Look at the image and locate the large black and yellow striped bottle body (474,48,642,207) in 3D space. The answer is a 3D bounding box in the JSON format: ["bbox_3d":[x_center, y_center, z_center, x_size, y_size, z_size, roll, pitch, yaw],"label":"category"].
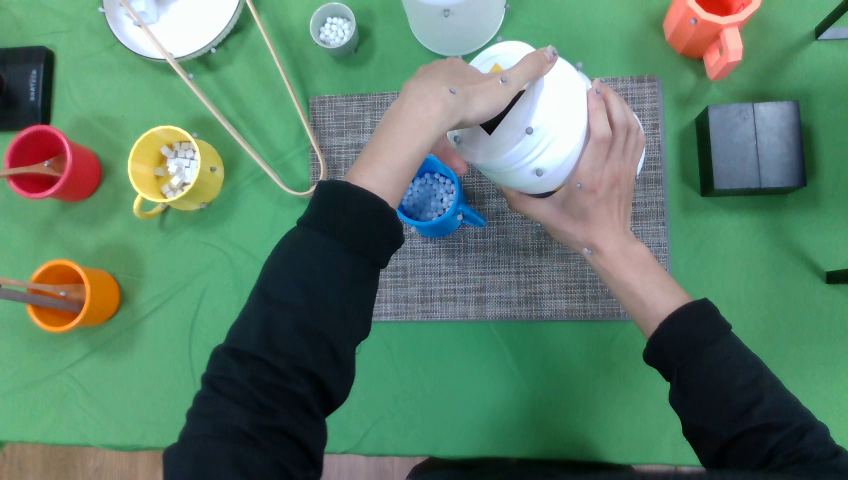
[{"bbox_3d":[0.123,-0.112,0.611,0.130,0.185,0.130,-9,76,41],"label":"large black and yellow striped bottle body"}]

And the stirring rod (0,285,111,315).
[{"bbox_3d":[-0.492,0.072,0.765,0.006,0.178,0.014,-17,62,49],"label":"stirring rod"}]

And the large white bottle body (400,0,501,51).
[{"bbox_3d":[0.025,-0.320,0.713,0.130,0.185,0.130,-1,84,8],"label":"large white bottle body"}]

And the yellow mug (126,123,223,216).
[{"bbox_3d":[-0.337,-0.085,0.799,0.099,0.064,0.131,37,92,9],"label":"yellow mug"}]

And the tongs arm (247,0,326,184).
[{"bbox_3d":[-0.211,-0.254,0.796,0.028,0.028,0.387,-25,88,-4],"label":"tongs arm"}]

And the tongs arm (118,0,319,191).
[{"bbox_3d":[-0.280,-0.206,0.797,0.051,0.026,0.384,-40,88,-1],"label":"tongs arm"}]

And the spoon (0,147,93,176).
[{"bbox_3d":[-0.535,-0.090,0.787,0.194,0.021,0.041,-20,78,-39],"label":"spoon"}]

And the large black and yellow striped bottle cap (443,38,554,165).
[{"bbox_3d":[0.064,-0.125,0.547,0.114,0.019,0.114,-14,69,41],"label":"large black and yellow striped bottle cap"}]

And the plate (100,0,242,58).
[{"bbox_3d":[-0.343,-0.349,0.838,0.207,0.039,0.207,-1,85,8],"label":"plate"}]

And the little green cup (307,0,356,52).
[{"bbox_3d":[-0.120,-0.281,0.802,0.061,0.039,0.061,-1,85,8],"label":"little green cup"}]

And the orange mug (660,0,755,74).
[{"bbox_3d":[0.337,-0.265,0.710,0.083,0.101,0.125,-11,79,7],"label":"orange mug"}]

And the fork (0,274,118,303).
[{"bbox_3d":[-0.501,0.054,0.765,0.209,0.018,0.028,15,84,-35],"label":"fork"}]

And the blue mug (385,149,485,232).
[{"bbox_3d":[0.019,-0.050,0.725,0.116,0.106,0.082,24,88,9],"label":"blue mug"}]
